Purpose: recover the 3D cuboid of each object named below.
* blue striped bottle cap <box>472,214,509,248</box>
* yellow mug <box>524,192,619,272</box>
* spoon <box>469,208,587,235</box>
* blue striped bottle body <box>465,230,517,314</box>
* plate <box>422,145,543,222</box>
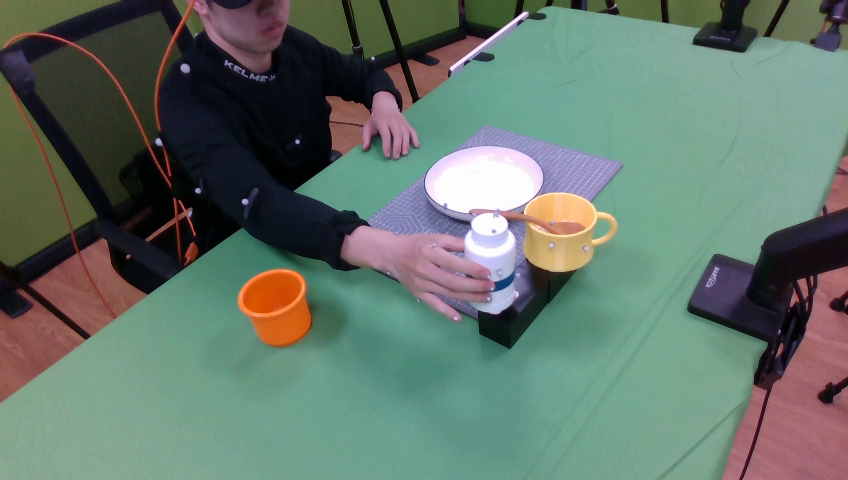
[{"bbox_3d":[0.078,-0.011,0.713,0.044,0.021,0.044,-1,37,1],"label":"blue striped bottle cap"},{"bbox_3d":[0.206,-0.013,0.845,0.131,0.064,0.099,-4,41,2],"label":"yellow mug"},{"bbox_3d":[0.143,-0.026,0.817,0.195,0.021,0.041,12,35,-29],"label":"spoon"},{"bbox_3d":[0.083,0.028,0.745,0.063,0.121,0.063,-3,39,3],"label":"blue striped bottle body"},{"bbox_3d":[0.101,-0.094,1.048,0.207,0.039,0.206,-4,41,4],"label":"plate"}]
